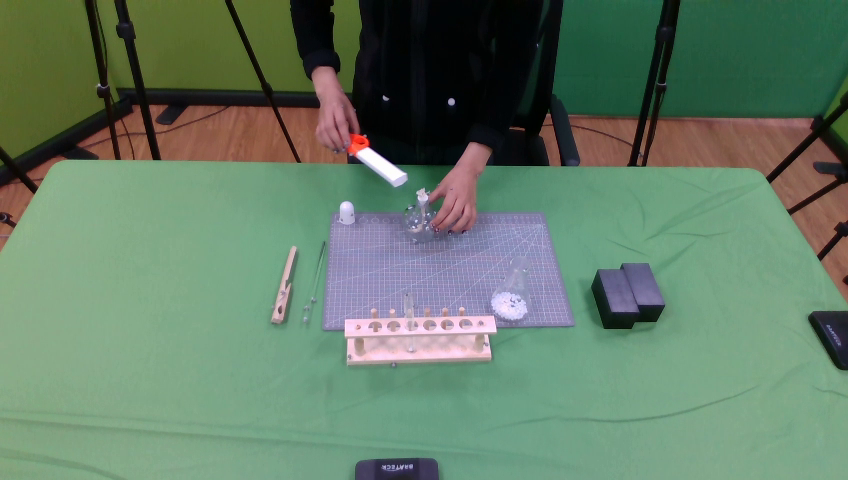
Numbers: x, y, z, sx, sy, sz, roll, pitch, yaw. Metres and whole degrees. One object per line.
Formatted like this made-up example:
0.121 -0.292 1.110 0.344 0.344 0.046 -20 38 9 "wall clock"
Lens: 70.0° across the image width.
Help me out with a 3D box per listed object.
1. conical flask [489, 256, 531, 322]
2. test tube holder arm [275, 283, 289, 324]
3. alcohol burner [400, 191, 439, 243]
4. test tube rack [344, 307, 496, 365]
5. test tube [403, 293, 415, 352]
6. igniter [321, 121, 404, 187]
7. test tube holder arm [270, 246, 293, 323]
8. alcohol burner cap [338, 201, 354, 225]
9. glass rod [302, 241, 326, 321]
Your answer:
0.158 0.081 1.061 0.075 0.122 0.075 2 46 -2 "conical flask"
-0.253 0.111 1.077 0.010 0.015 0.087 28 38 -26 "test tube holder arm"
-0.007 -0.052 1.182 0.078 0.119 0.077 3 47 -3 "alcohol burner"
-0.009 0.154 1.007 0.242 0.085 0.066 -1 46 -5 "test tube rack"
-0.024 0.133 0.957 0.017 0.151 0.017 0 48 0 "test tube"
-0.127 -0.174 1.181 0.057 0.025 0.275 -29 46 -23 "igniter"
-0.259 0.076 1.106 0.013 0.015 0.177 28 38 -27 "test tube holder arm"
-0.159 -0.056 1.224 0.034 0.048 0.033 2 46 -2 "alcohol burner cap"
-0.203 0.071 1.124 0.008 0.008 0.198 4 44 1 "glass rod"
